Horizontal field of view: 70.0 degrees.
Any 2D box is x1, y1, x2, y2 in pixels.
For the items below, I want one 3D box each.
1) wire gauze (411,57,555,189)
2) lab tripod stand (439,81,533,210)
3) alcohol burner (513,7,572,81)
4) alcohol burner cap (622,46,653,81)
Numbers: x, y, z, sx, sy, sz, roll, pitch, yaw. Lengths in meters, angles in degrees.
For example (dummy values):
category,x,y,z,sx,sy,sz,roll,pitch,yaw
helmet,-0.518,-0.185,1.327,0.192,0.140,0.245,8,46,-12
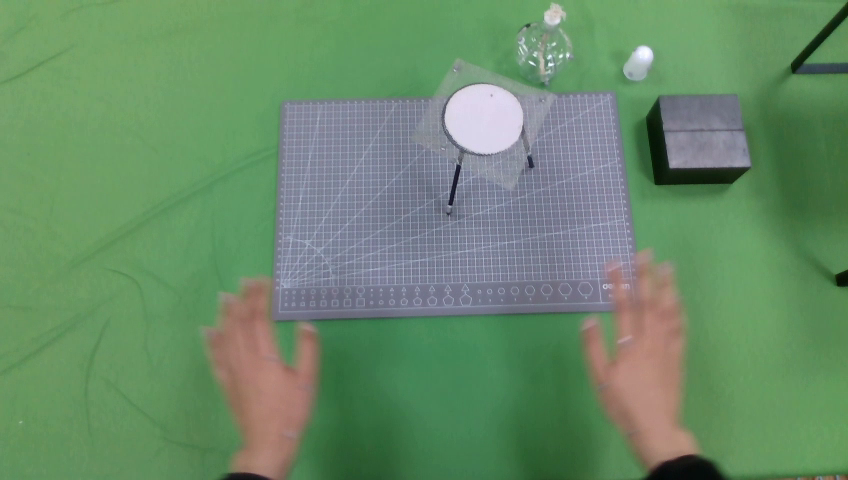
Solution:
category,x,y,z,sx,sy,sz,roll,pitch,yaw
wire gauze,0.065,-0.132,0.658,0.125,0.011,0.121,26,74,8
lab tripod stand,0.067,-0.118,0.723,0.148,0.132,0.147,0,71,0
alcohol burner,0.156,-0.259,0.780,0.078,0.120,0.077,0,72,-1
alcohol burner cap,0.288,-0.239,0.810,0.034,0.048,0.033,0,72,2
